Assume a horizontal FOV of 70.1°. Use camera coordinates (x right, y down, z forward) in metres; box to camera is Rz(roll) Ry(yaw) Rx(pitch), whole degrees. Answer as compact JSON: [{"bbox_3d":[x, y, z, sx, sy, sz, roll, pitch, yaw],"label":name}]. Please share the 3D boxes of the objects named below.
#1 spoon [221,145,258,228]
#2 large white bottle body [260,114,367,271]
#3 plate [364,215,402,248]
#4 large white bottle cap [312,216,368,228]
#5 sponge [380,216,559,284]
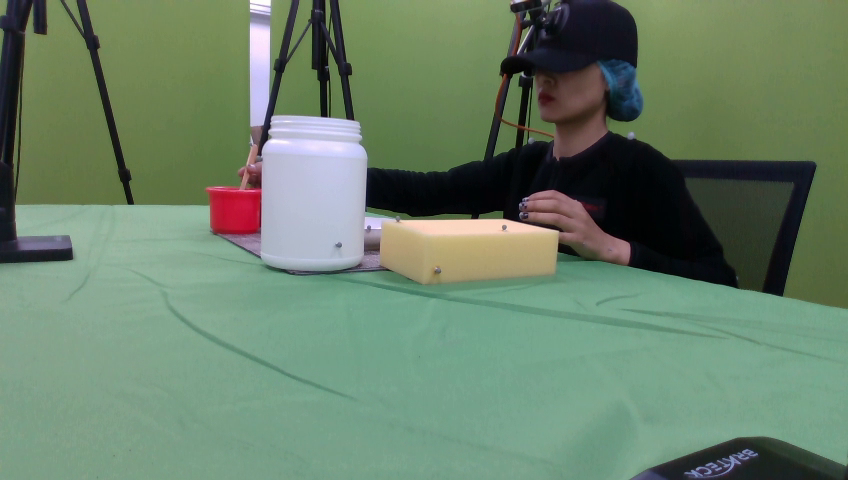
[{"bbox_3d":[-0.324,-0.100,1.088,0.042,0.193,0.021,18,-33,-17],"label":"spoon"},{"bbox_3d":[-0.139,-0.062,0.763,0.131,0.184,0.130,3,8,0],"label":"large white bottle body"},{"bbox_3d":[-0.122,-0.015,0.984,0.209,0.038,0.209,2,7,0],"label":"plate"},{"bbox_3d":[-0.171,-0.038,1.234,0.115,0.018,0.115,2,5,0],"label":"large white bottle cap"},{"bbox_3d":[0.059,0.008,0.786,0.208,0.061,0.117,-3,11,-32],"label":"sponge"}]
